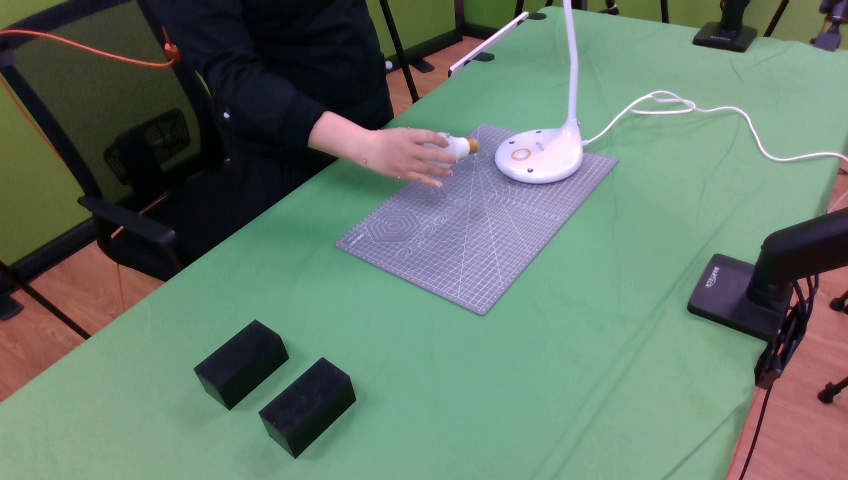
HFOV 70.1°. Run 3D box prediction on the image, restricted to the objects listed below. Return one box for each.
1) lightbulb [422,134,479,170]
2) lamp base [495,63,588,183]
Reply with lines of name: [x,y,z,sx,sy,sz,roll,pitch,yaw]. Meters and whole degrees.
lightbulb: [0.046,-0.148,0.996,0.108,0.059,0.059,-15,38,-31]
lamp base: [0.215,-0.217,1.067,0.180,0.181,0.159,-19,42,-18]
